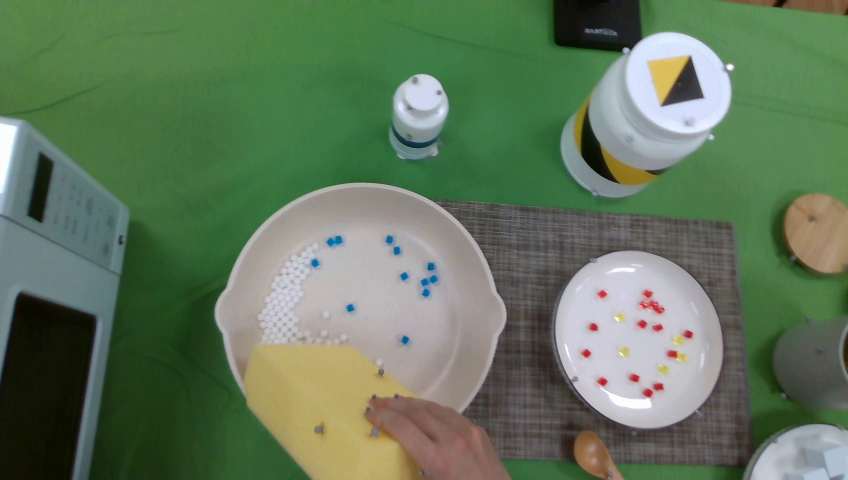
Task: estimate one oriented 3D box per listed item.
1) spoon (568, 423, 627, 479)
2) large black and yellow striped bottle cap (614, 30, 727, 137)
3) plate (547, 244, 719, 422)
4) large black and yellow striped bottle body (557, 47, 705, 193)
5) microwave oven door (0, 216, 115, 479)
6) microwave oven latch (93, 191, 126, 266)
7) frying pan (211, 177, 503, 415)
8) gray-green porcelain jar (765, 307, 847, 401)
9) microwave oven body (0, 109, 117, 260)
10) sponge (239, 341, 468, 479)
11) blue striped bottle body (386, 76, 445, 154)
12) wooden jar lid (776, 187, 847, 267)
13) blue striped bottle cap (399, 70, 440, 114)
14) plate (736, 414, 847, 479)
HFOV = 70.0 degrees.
[{"bbox_3d":[0.233,0.284,0.692,0.193,0.022,0.041,44,59,2],"label":"spoon"},{"bbox_3d":[0.255,-0.163,0.626,0.115,0.019,0.114,2,76,-6],"label":"large black and yellow striped bottle cap"},{"bbox_3d":[0.245,0.108,0.723,0.209,0.038,0.208,2,77,-6],"label":"plate"},{"bbox_3d":[0.245,-0.143,0.709,0.131,0.184,0.130,2,76,-6],"label":"large black and yellow striped bottle body"},{"bbox_3d":[-0.348,0.176,0.510,0.039,0.244,0.354,4,76,-6],"label":"microwave oven door"},{"bbox_3d":[-0.346,-0.013,0.658,0.030,0.029,0.079,7,77,-6],"label":"microwave oven latch"},{"bbox_3d":[-0.071,0.175,0.634,0.307,0.103,0.484,2,69,-4],"label":"frying pan"},{"bbox_3d":[0.477,0.134,0.706,0.106,0.127,0.105,2,77,-7],"label":"gray-green porcelain jar"},{"bbox_3d":[-0.490,0.125,0.508,0.327,0.261,0.439,4,77,-7],"label":"microwave oven body"},{"bbox_3d":[-0.075,0.164,0.576,0.119,0.205,0.061,7,101,-43],"label":"sponge"},{"bbox_3d":[-0.010,-0.150,0.709,0.063,0.121,0.063,2,77,-7],"label":"blue striped bottle body"},{"bbox_3d":[0.514,-0.016,0.799,0.108,0.021,0.108,1,79,-7],"label":"wooden jar lid"},{"bbox_3d":[-0.005,-0.161,0.659,0.044,0.021,0.044,2,74,-6],"label":"blue striped bottle cap"},{"bbox_3d":[0.458,0.309,0.710,0.208,0.039,0.206,2,77,-7],"label":"plate"}]
